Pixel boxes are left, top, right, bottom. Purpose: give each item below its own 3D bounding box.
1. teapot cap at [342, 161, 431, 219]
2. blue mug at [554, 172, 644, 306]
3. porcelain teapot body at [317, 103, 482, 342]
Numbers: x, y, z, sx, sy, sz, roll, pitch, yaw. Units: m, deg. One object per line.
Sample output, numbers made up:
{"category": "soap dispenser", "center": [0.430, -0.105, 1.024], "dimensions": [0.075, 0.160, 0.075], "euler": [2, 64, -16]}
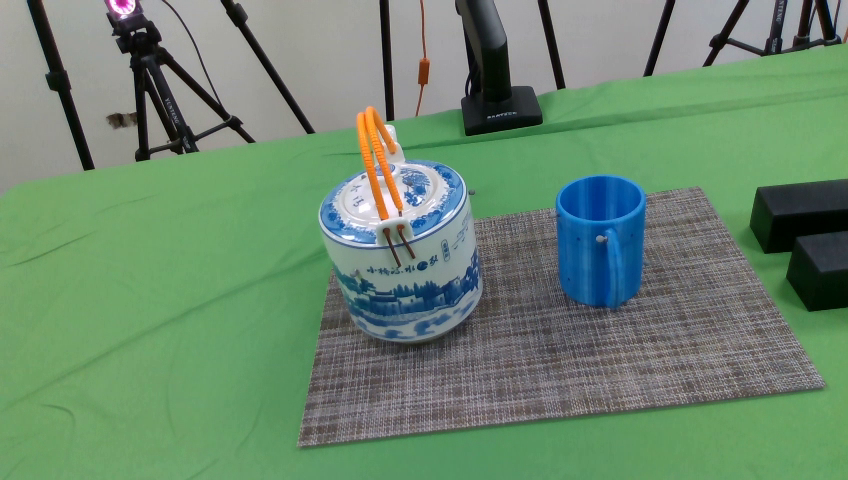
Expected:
{"category": "teapot cap", "center": [-0.035, -0.049, 0.560], "dimensions": [0.085, 0.044, 0.084], "euler": [-5, 37, 4]}
{"category": "blue mug", "center": [0.174, 0.008, 0.590], "dimensions": [0.082, 0.107, 0.115], "euler": [-8, 38, 6]}
{"category": "porcelain teapot body", "center": [-0.030, -0.035, 0.606], "dimensions": [0.145, 0.227, 0.203], "euler": [-13, 37, 0]}
